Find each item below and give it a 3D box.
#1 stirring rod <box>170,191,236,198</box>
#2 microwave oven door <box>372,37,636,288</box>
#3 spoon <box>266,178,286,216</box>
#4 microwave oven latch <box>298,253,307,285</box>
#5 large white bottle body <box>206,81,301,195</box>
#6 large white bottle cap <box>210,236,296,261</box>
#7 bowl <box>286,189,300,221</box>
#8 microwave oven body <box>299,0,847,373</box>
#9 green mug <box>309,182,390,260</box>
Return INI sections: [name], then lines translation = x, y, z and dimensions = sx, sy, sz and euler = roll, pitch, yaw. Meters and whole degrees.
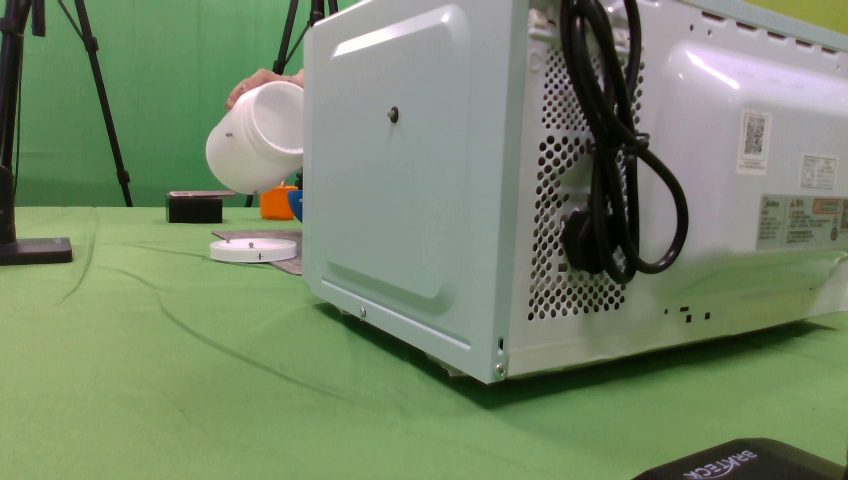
[stirring rod]
translation = -0.465, -0.097, 1.283
dimensions = 0.014, 0.006, 0.177
euler = 42, 21, 17
[microwave oven door]
translation = 0.110, -0.080, 0.687
dimensions = 0.358, 0.243, 0.039
euler = -2, 9, -33
[spoon]
translation = -0.334, -0.127, 1.424
dimensions = 0.041, 0.193, 0.022
euler = 0, -37, 7
[microwave oven latch]
translation = -0.081, 0.027, 0.582
dimensions = 0.079, 0.029, 0.030
euler = -1, 7, -32
[large white bottle body]
translation = -0.242, -0.153, 0.921
dimensions = 0.131, 0.130, 0.184
euler = -3, -11, -35
[large white bottle cap]
translation = -0.236, 0.011, 0.839
dimensions = 0.115, 0.018, 0.115
euler = -1, 10, 0
[bowl]
translation = -0.179, -0.051, 1.115
dimensions = 0.151, 0.077, 0.151
euler = 2, 8, 0
[microwave oven body]
translation = 0.151, -0.055, 0.542
dimensions = 0.444, 0.260, 0.324
euler = -2, 7, -33
[green mug]
translation = -0.102, -0.029, 0.864
dimensions = 0.126, 0.105, 0.092
euler = -3, 8, -40
